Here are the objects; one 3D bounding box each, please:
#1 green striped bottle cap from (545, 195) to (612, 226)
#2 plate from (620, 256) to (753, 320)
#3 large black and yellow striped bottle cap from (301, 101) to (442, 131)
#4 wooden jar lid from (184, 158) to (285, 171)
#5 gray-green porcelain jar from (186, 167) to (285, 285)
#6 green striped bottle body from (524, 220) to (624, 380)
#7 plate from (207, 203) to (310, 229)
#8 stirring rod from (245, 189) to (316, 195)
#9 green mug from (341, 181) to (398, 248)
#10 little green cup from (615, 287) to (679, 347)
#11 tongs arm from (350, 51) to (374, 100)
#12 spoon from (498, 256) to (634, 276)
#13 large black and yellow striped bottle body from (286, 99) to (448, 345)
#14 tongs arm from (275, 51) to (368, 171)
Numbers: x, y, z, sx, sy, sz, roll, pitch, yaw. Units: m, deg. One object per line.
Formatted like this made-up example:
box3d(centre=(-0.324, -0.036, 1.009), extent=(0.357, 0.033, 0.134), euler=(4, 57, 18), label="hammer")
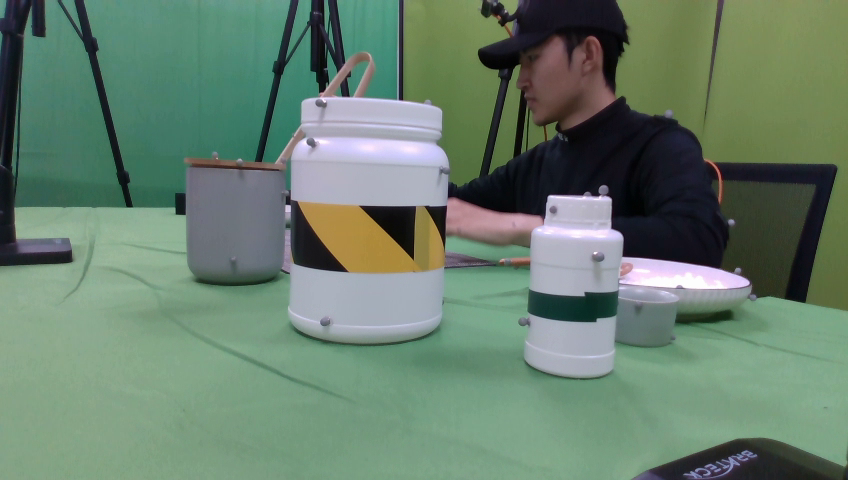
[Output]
box3d(centre=(0.106, -0.020, 0.414), extent=(0.044, 0.020, 0.044), euler=(2, 4, 0), label="green striped bottle cap")
box3d(centre=(0.234, 0.049, 0.651), extent=(0.209, 0.038, 0.209), euler=(2, 7, 0), label="plate")
box3d(centre=(-0.042, -0.100, 0.491), extent=(0.115, 0.019, 0.115), euler=(1, 8, 0), label="large black and yellow striped bottle cap")
box3d(centre=(-0.210, -0.078, 0.674), extent=(0.108, 0.020, 0.108), euler=(5, 6, 0), label="wooden jar lid")
box3d(centre=(-0.212, -0.017, 0.682), extent=(0.106, 0.126, 0.106), euler=(2, 7, 0), label="gray-green porcelain jar")
box3d(centre=(0.104, 0.031, 0.422), extent=(0.063, 0.119, 0.063), euler=(2, 7, 0), label="green striped bottle body")
box3d(centre=(-0.342, -0.050, 1.259), extent=(0.208, 0.039, 0.207), euler=(3, 7, 0), label="plate")
box3d(centre=(-0.351, -0.119, 1.490), extent=(0.177, 0.014, 0.006), euler=(-2, 6, -29), label="stirring rod")
box3d(centre=(-0.090, -0.044, 0.997), extent=(0.093, 0.105, 0.125), euler=(1, 7, -8), label="green mug")
box3d(centre=(0.180, 0.064, 0.506), extent=(0.061, 0.038, 0.061), euler=(1, 8, 0), label="little green cup")
box3d(centre=(-0.184, -0.266, 1.335), extent=(0.028, 0.387, 0.028), euler=(9, -26, 25), label="tongs arm")
box3d(centre=(0.162, 0.027, 0.679), extent=(0.195, 0.021, 0.041), euler=(8, 3, -30), label="spoon")
box3d(centre=(-0.047, -0.018, 0.501), extent=(0.131, 0.184, 0.130), euler=(2, 7, 0), label="large black and yellow striped bottle body")
box3d(centre=(-0.234, -0.281, 1.356), extent=(0.050, 0.385, 0.026), euler=(16, -24, 25), label="tongs arm")
